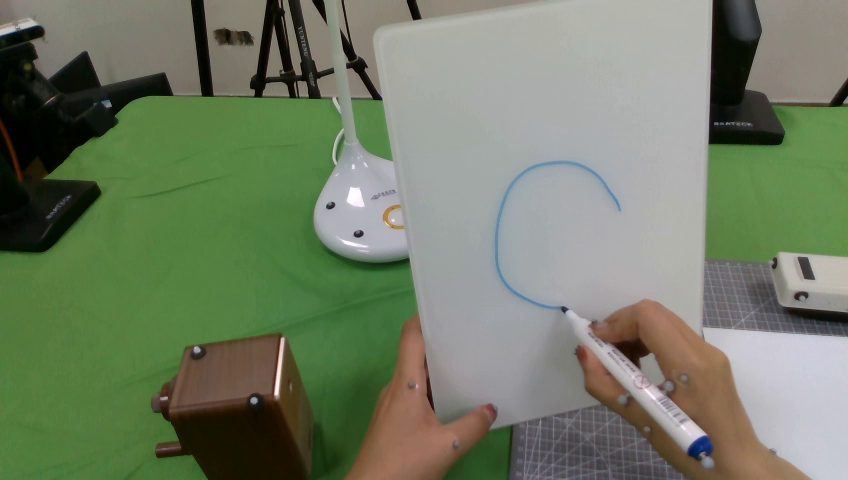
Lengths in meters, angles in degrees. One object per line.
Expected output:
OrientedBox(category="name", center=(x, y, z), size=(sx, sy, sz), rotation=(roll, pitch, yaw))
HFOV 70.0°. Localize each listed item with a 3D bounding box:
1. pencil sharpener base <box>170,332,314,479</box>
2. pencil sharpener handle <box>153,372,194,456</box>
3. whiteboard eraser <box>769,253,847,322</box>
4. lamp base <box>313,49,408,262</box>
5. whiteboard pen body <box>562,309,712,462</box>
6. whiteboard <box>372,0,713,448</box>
OrientedBox(category="pencil sharpener base", center=(-0.128, 0.126, 0.436), size=(0.077, 0.108, 0.060), rotation=(-7, 41, -1))
OrientedBox(category="pencil sharpener handle", center=(-0.179, 0.125, 0.423), size=(0.030, 0.068, 0.035), rotation=(-7, 28, -1))
OrientedBox(category="whiteboard eraser", center=(0.366, 0.044, 0.525), size=(0.112, 0.042, 0.055), rotation=(6, 43, 13))
OrientedBox(category="lamp base", center=(-0.057, -0.096, 0.631), size=(0.161, 0.182, 0.177), rotation=(-30, 44, -26))
OrientedBox(category="whiteboard pen body", center=(0.127, 0.084, 0.386), size=(0.017, 0.017, 0.139), rotation=(-19, 36, -15))
OrientedBox(category="whiteboard", center=(0.087, -0.025, 0.482), size=(0.217, 0.307, 0.142), rotation=(-11, 21, -5))
